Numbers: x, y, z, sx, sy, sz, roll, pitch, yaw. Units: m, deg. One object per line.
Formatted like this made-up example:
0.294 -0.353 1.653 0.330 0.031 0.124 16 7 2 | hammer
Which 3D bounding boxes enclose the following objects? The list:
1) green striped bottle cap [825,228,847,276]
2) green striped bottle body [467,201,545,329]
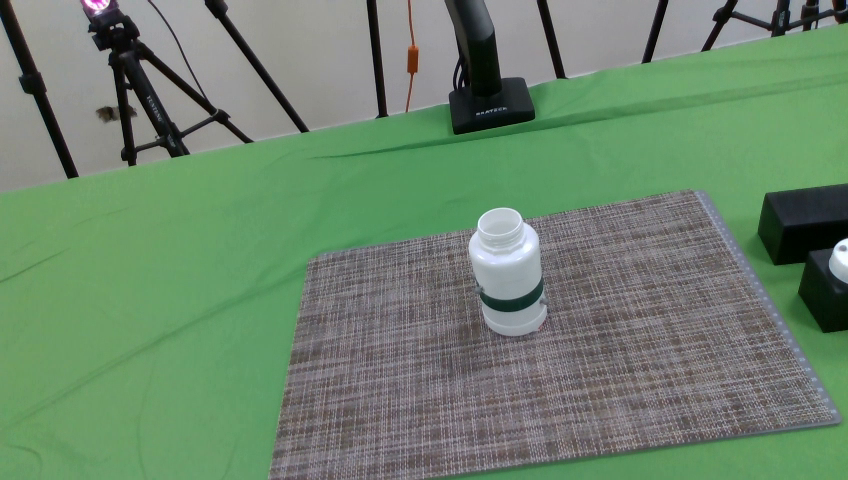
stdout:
0.353 0.010 0.491 0.044 0.020 0.044 -6 42 6 | green striped bottle cap
0.076 0.022 0.555 0.063 0.120 0.062 -9 41 8 | green striped bottle body
